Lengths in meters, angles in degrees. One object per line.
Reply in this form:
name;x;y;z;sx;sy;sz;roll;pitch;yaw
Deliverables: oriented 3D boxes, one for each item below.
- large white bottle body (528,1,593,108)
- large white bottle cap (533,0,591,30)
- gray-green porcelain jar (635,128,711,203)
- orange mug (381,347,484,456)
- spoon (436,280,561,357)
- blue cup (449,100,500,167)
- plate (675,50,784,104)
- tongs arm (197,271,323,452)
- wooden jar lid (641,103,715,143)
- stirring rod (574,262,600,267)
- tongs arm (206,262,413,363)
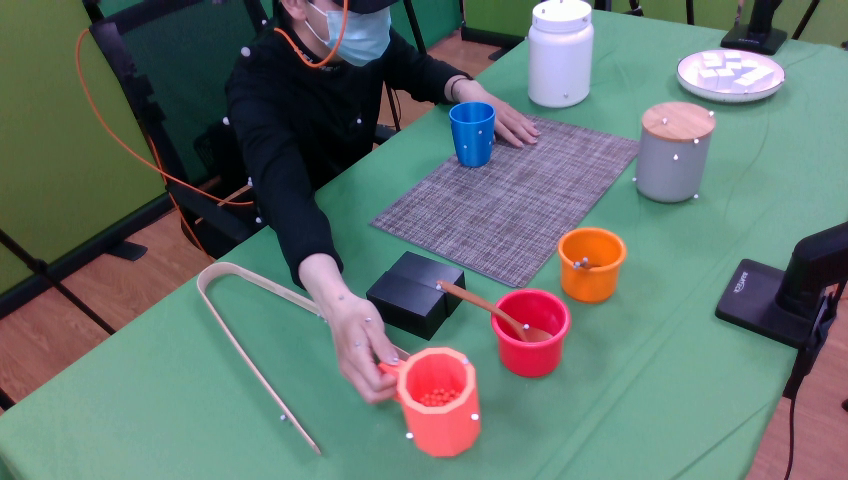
large white bottle body;0.283;-0.386;1.259;0.130;0.185;0.130;-5;41;4
large white bottle cap;0.274;-0.449;1.204;0.115;0.018;0.114;-4;41;4
gray-green porcelain jar;0.405;-0.133;0.992;0.106;0.127;0.105;-4;40;4
orange mug;0.009;0.180;0.701;0.125;0.101;0.083;22;52;23
spoon;0.096;0.095;0.758;0.195;0.021;0.041;34;40;-20
blue cup;0.092;-0.194;1.123;0.092;0.100;0.092;-3;40;3
plate;0.632;-0.336;1.262;0.207;0.039;0.206;-4;41;4
tongs arm;-0.236;0.152;0.829;0.028;0.028;0.384;-36;47;-19
wooden jar lid;0.398;-0.180;0.952;0.108;0.021;0.108;-4;43;4
stirring rod;0.222;0.033;0.817;0.014;0.006;0.177;9;1;22
tongs arm;-0.179;0.105;0.869;0.382;0.026;0.051;23;53;32
